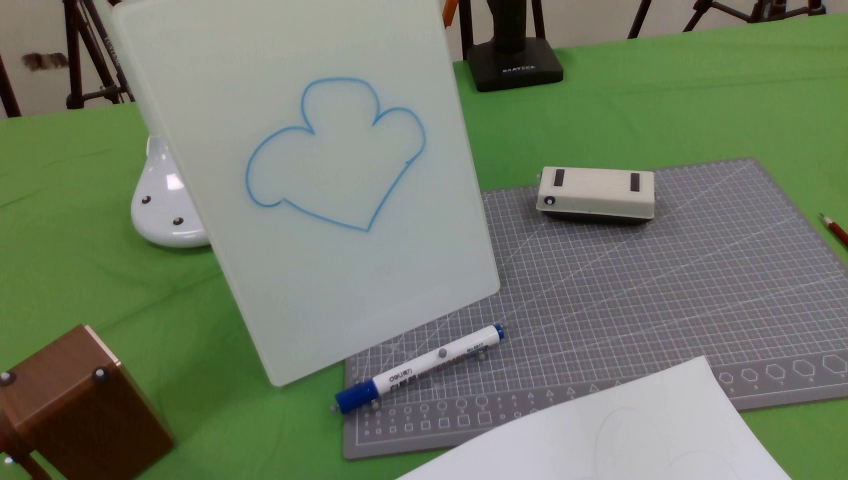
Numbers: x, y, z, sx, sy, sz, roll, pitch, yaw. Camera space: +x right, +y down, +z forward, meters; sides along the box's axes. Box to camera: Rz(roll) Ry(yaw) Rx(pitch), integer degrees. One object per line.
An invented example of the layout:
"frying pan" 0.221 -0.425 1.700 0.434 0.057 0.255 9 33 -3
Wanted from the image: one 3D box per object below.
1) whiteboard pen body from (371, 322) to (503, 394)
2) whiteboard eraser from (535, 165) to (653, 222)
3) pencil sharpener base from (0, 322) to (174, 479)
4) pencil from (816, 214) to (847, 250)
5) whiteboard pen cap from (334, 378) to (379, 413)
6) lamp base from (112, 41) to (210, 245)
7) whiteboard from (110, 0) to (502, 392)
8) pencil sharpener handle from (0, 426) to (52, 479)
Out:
"whiteboard pen body" 0.000 0.099 0.487 0.141 0.017 0.017 -22 44 -14
"whiteboard eraser" 0.171 -0.047 0.611 0.112 0.042 0.055 6 45 13
"pencil sharpener base" -0.241 0.126 0.432 0.061 0.108 0.076 30 54 33
"pencil" 0.399 0.036 0.522 0.012 0.012 0.192 -10 40 -2
"whiteboard pen cap" -0.052 0.121 0.472 0.033 0.018 0.018 -23 45 -15
"lamp base" -0.265 -0.111 0.638 0.177 0.182 0.160 22 50 31
"whiteboard" -0.085 -0.069 0.520 0.217 0.308 0.142 -22 25 -14
"pencil sharpener handle" -0.275 0.145 0.397 0.035 0.068 0.030 19 48 43
